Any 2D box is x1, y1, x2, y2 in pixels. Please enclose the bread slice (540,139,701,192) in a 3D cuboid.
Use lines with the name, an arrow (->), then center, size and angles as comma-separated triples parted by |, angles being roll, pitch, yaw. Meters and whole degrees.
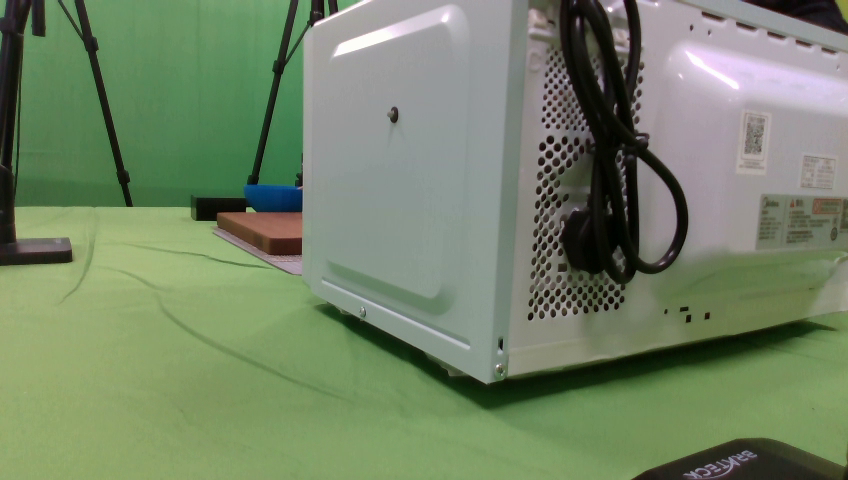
bread slice -> 0.195, -0.073, 0.585 | 0.107, 0.018, 0.133 | -2, 21, -37

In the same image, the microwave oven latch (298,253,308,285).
microwave oven latch -> -0.081, 0.027, 0.583 | 0.079, 0.029, 0.030 | -2, 8, -33

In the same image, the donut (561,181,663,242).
donut -> 0.186, -0.030, 0.603 | 0.099, 0.048, 0.099 | 10, -9, 2

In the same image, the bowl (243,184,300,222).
bowl -> -0.321, -0.081, 1.334 | 0.151, 0.077, 0.151 | 3, 7, 0

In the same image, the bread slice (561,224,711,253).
bread slice -> 0.206, -0.003, 0.578 | 0.105, 0.019, 0.131 | 3, 4, -13

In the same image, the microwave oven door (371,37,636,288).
microwave oven door -> 0.109, -0.080, 0.686 | 0.358, 0.243, 0.039 | -2, 9, -33

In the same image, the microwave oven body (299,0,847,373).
microwave oven body -> 0.152, -0.055, 0.542 | 0.444, 0.260, 0.324 | -2, 8, -33

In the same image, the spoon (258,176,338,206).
spoon -> -0.279, -0.112, 1.357 | 0.194, 0.021, 0.041 | -28, 19, -26
